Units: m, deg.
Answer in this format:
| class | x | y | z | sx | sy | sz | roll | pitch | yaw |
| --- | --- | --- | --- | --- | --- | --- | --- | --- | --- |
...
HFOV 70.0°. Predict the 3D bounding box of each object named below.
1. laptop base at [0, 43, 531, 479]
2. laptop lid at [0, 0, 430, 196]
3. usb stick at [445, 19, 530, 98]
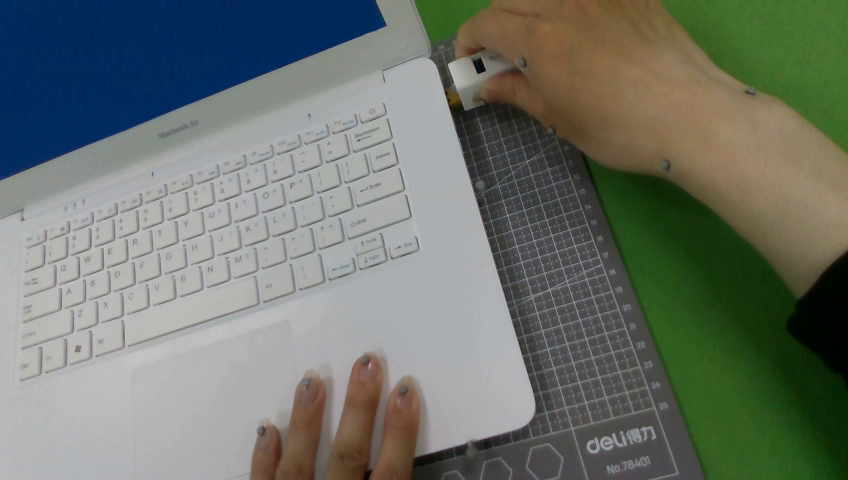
| class | x | y | z | sx | sy | sz | roll | pitch | yaw |
| --- | --- | --- | --- | --- | --- | --- | --- | --- | --- |
| laptop base | -0.133 | 0.032 | 0.373 | 0.354 | 0.023 | 0.233 | -18 | 70 | 10 |
| laptop lid | -0.196 | -0.143 | 0.332 | 0.356 | 0.244 | 0.013 | -19 | 48 | 11 |
| usb stick | 0.031 | -0.104 | 0.361 | 0.059 | 0.027 | 0.021 | -25 | 63 | 13 |
